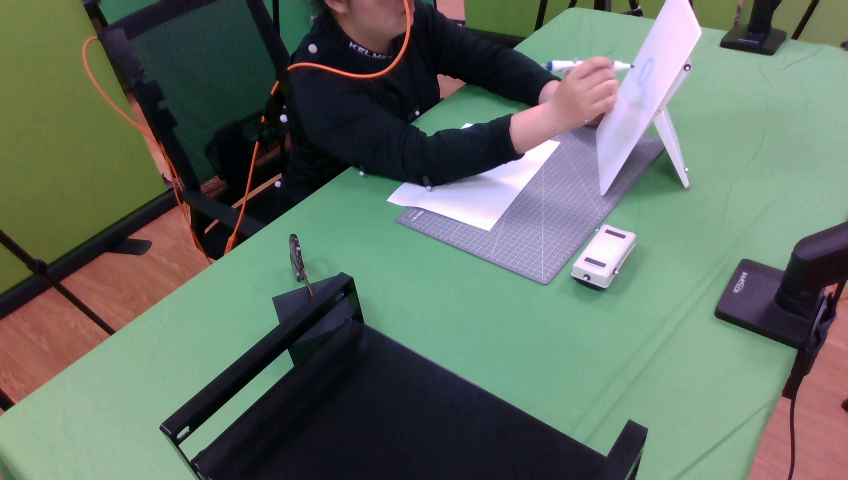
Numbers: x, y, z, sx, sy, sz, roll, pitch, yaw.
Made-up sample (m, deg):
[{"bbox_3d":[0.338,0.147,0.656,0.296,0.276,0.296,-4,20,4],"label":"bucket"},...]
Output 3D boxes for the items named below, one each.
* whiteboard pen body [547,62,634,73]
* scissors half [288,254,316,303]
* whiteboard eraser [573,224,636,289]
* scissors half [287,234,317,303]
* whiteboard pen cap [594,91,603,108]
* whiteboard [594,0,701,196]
[{"bbox_3d":[0.261,-0.268,0.942,0.141,0.017,0.017,-2,39,-9],"label":"whiteboard pen body"},{"bbox_3d":[-0.178,0.058,0.894,0.013,0.040,0.174,-15,20,-18],"label":"scissors half"},{"bbox_3d":[0.267,0.026,0.891,0.055,0.042,0.113,19,47,31],"label":"whiteboard eraser"},{"bbox_3d":[-0.178,0.040,0.885,0.013,0.040,0.173,-10,36,-21],"label":"scissors half"},{"bbox_3d":[0.364,-0.293,1.262,0.018,0.033,0.018,-5,41,5],"label":"whiteboard pen cap"},{"bbox_3d":[0.420,-0.227,1.010,0.144,0.305,0.216,18,42,-2],"label":"whiteboard"}]
